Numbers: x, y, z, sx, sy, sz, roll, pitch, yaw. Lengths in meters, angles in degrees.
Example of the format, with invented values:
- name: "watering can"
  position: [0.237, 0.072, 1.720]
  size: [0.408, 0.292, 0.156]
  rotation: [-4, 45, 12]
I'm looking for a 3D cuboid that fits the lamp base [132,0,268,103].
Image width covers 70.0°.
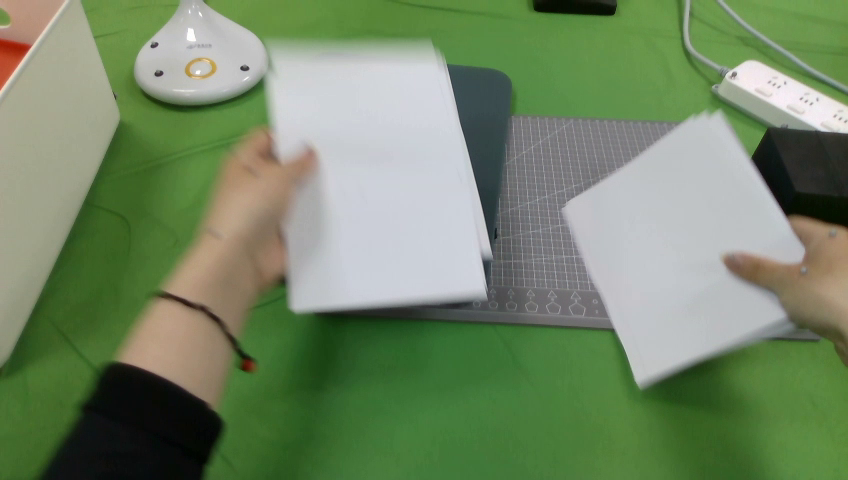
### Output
- name: "lamp base"
  position: [-0.278, -0.281, 0.700]
  size: [0.161, 0.182, 0.177]
  rotation: [-16, 49, -16]

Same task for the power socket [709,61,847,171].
- name: "power socket"
  position: [0.454, -0.146, 0.718]
  size: [0.072, 0.033, 0.224]
  rotation: [-31, 57, -26]

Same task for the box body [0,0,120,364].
- name: "box body"
  position: [-0.451, -0.067, 0.519]
  size: [0.254, 0.162, 0.360]
  rotation: [0, 49, -3]

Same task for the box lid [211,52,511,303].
- name: "box lid"
  position: [-0.047, -0.092, 0.660]
  size: [0.263, 0.015, 0.368]
  rotation: [8, 49, 5]

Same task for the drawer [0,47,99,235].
- name: "drawer"
  position: [-0.435, -0.109, 0.553]
  size: [0.195, 0.074, 0.209]
  rotation: [9, 39, -13]

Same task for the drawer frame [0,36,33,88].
- name: "drawer frame"
  position: [-0.437, -0.111, 0.553]
  size: [0.202, 0.083, 0.211]
  rotation: [9, 39, -13]

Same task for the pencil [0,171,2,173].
- name: "pencil"
  position: [-0.454, -0.088, 0.551]
  size: [0.193, 0.012, 0.012]
  rotation: [19, 51, 16]
